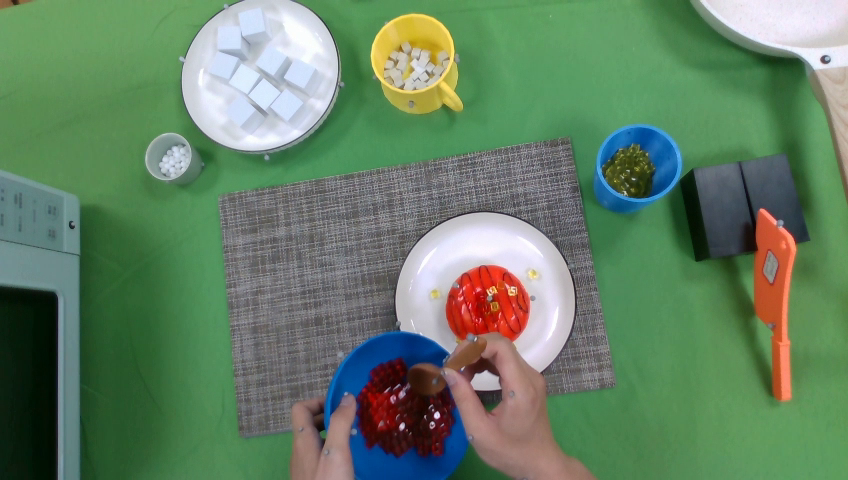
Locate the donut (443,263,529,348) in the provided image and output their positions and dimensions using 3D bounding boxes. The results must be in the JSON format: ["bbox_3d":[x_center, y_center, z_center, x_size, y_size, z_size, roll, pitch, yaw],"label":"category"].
[{"bbox_3d":[0.071,0.075,0.691,0.099,0.048,0.099,-1,85,7],"label":"donut"}]

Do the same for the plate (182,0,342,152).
[{"bbox_3d":[-0.204,-0.210,0.779,0.207,0.039,0.207,-1,82,7],"label":"plate"}]

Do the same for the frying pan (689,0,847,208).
[{"bbox_3d":[0.436,-0.247,0.674,0.306,0.103,0.485,-4,73,7],"label":"frying pan"}]

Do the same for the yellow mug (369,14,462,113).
[{"bbox_3d":[-0.001,-0.204,0.740,0.130,0.064,0.100,44,89,10],"label":"yellow mug"}]

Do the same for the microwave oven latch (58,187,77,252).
[{"bbox_3d":[-0.457,-0.025,0.763,0.030,0.029,0.079,-3,82,6],"label":"microwave oven latch"}]

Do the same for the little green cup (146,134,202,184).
[{"bbox_3d":[-0.317,-0.101,0.774,0.061,0.039,0.061,-1,82,6],"label":"little green cup"}]

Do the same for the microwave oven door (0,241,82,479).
[{"bbox_3d":[-0.452,0.176,0.631,0.039,0.245,0.354,-6,81,6],"label":"microwave oven door"}]

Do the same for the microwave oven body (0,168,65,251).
[{"bbox_3d":[-0.600,0.150,0.657,0.326,0.261,0.440,-6,82,5],"label":"microwave oven body"}]

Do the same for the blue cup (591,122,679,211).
[{"bbox_3d":[0.226,-0.073,0.676,0.092,0.100,0.092,-1,80,6],"label":"blue cup"}]

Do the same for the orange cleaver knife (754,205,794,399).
[{"bbox_3d":[0.372,0.069,0.649,0.012,0.077,0.212,-10,109,6],"label":"orange cleaver knife"}]

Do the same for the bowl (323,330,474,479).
[{"bbox_3d":[-0.035,0.170,0.602,0.152,0.077,0.150,9,69,-24],"label":"bowl"}]

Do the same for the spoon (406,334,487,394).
[{"bbox_3d":[0.020,0.115,0.547,0.041,0.194,0.021,31,65,-2],"label":"spoon"}]

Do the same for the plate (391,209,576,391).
[{"bbox_3d":[0.068,0.068,0.703,0.209,0.038,0.208,-1,83,7],"label":"plate"}]
